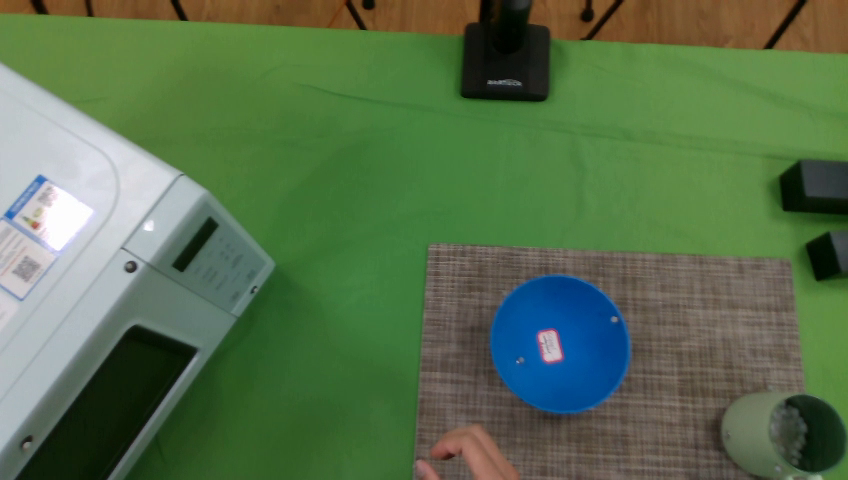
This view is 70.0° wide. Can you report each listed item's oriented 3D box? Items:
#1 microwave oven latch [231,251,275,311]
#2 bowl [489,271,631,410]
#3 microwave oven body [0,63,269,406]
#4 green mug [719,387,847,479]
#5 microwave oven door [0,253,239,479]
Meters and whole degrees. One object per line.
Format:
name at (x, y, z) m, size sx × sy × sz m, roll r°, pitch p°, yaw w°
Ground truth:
microwave oven latch at (-0.211, 0.044, 0.720) m, size 0.030 × 0.029 × 0.079 m, roll 32°, pitch 77°, yaw 10°
bowl at (0.146, 0.117, 0.686) m, size 0.151 × 0.077 × 0.150 m, roll 0°, pitch 73°, yaw 1°
microwave oven body at (-0.432, 0.086, 0.609) m, size 0.325 × 0.261 × 0.440 m, roll 30°, pitch 76°, yaw 9°
green mug at (0.381, 0.217, 0.637) m, size 0.092 × 0.105 × 0.124 m, roll -14°, pitch 73°, yaw -3°
microwave oven door at (-0.329, 0.191, 0.571) m, size 0.039 × 0.245 × 0.355 m, roll 30°, pitch 76°, yaw 11°
